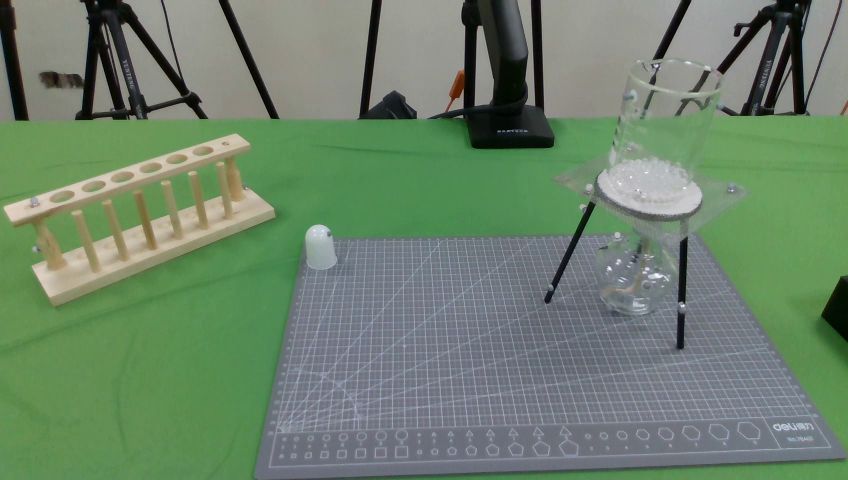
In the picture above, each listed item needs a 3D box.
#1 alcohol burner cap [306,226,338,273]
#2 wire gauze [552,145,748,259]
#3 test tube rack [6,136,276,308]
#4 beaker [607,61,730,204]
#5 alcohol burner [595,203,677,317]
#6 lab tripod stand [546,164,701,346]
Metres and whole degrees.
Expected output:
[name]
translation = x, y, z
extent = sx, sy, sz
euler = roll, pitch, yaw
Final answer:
[alcohol burner cap]
translation = -0.109, 0.007, 0.636
extent = 0.034, 0.048, 0.033
euler = 1, 37, 0
[wire gauze]
translation = 0.193, -0.043, 0.521
extent = 0.121, 0.011, 0.124
euler = -26, 47, -29
[test tube rack]
translation = -0.287, -0.028, 0.648
extent = 0.242, 0.086, 0.066
euler = -27, 44, -32
[beaker]
translation = 0.194, -0.088, 0.500
extent = 0.074, 0.101, 0.083
euler = -5, 37, -9
[alcohol burner]
translation = 0.204, 0.014, 0.572
extent = 0.078, 0.120, 0.077
euler = 1, 38, 0
[lab tripod stand]
translation = 0.196, 0.009, 0.561
extent = 0.148, 0.132, 0.147
euler = 2, 36, -1
